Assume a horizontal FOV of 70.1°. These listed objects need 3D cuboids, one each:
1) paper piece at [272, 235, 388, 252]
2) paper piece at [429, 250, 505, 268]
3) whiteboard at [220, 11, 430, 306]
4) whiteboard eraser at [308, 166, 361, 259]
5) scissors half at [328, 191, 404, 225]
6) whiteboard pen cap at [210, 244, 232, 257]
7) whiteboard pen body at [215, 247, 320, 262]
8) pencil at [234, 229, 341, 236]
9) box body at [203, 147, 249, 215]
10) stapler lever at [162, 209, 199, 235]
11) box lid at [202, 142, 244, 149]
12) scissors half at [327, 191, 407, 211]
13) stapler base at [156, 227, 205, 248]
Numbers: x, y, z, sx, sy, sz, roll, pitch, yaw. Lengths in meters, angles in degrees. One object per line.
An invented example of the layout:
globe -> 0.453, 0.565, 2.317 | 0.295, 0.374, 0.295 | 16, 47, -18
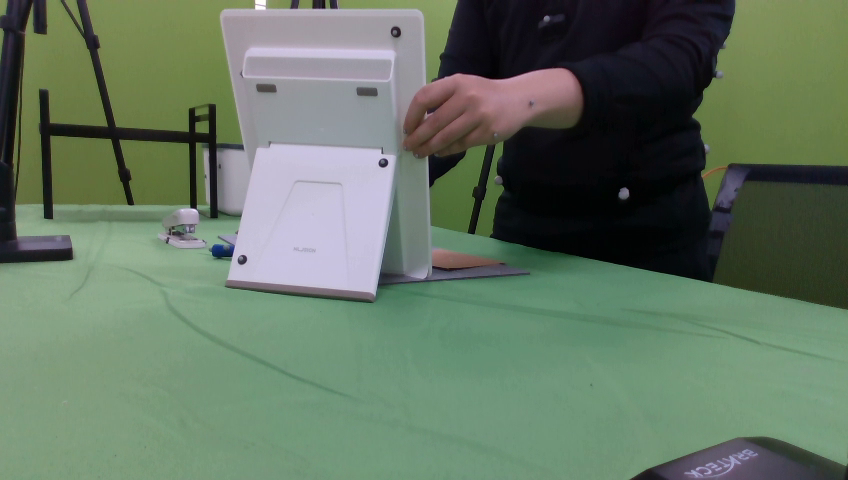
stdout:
paper piece -> -0.152, 0.003, 0.978 | 0.135, 0.008, 0.139 | 13, 10, 35
paper piece -> 0.025, 0.026, 0.864 | 0.134, 0.004, 0.136 | 8, 8, 43
whiteboard -> -0.119, -0.064, 0.619 | 0.217, 0.305, 0.144 | 5, 29, 13
whiteboard eraser -> -0.110, -0.031, 0.732 | 0.055, 0.112, 0.042 | 17, 32, 9
scissors half -> -0.128, -0.072, 1.320 | 0.175, 0.040, 0.013 | 22, 6, -6
whiteboard pen cap -> -0.267, 0.015, 0.806 | 0.033, 0.018, 0.018 | 3, 7, -1
whiteboard pen body -> -0.209, 0.019, 0.804 | 0.141, 0.017, 0.017 | 2, 7, 1
pencil -> -0.232, -0.012, 1.053 | 0.195, 0.012, 0.012 | 0, 8, -36
box body -> -0.347, -0.152, 1.519 | 0.366, 0.160, 0.253 | -2, 9, -31
stapler lever -> -0.376, -0.031, 0.933 | 0.027, 0.040, 0.117 | 1, 7, -38
box lid -> -0.345, -0.225, 1.509 | 0.373, 0.015, 0.262 | -2, 8, -31
scissors half -> -0.123, -0.092, 1.316 | 0.175, 0.040, 0.013 | 6, 13, -4
stapler base -> -0.376, -0.007, 0.935 | 0.041, 0.024, 0.130 | 1, 5, -38
